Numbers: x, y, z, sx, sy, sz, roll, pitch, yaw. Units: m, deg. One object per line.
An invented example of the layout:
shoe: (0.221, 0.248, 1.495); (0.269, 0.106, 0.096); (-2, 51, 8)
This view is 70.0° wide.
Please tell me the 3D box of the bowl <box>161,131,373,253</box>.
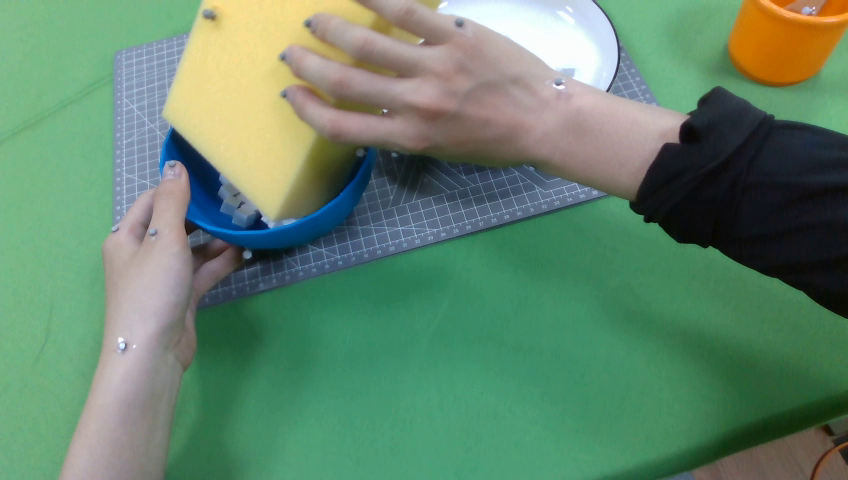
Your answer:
bowl: (-0.104, -0.047, 0.450); (0.151, 0.077, 0.150); (-4, 62, 9)

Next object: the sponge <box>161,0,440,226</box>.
sponge: (-0.077, -0.127, 0.381); (0.117, 0.207, 0.061); (40, 28, 15)

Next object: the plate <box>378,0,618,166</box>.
plate: (0.053, -0.143, 0.509); (0.209, 0.038, 0.207); (-2, 61, 5)

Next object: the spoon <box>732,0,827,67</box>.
spoon: (0.323, -0.202, 0.452); (0.022, 0.194, 0.041); (4, 54, -44)
